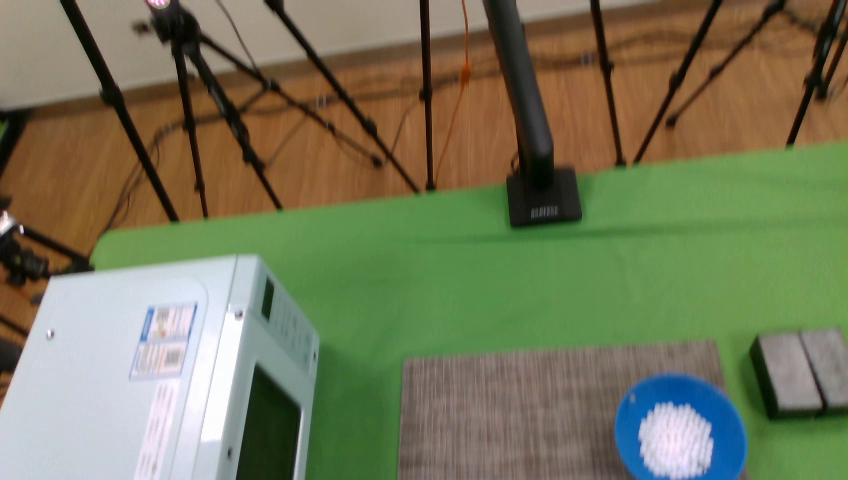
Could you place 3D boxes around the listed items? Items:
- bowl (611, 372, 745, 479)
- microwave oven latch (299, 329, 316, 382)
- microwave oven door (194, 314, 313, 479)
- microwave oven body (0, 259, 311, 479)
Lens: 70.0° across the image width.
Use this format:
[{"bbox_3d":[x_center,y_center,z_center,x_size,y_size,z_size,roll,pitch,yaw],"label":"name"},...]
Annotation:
[{"bbox_3d":[0.309,0.250,0.755,0.151,0.077,0.150,-6,55,9],"label":"bowl"},{"bbox_3d":[-0.183,0.177,0.929,0.030,0.030,0.078,-6,56,8],"label":"microwave oven latch"},{"bbox_3d":[-0.203,0.299,0.723,0.039,0.246,0.352,-7,55,9],"label":"microwave oven door"},{"bbox_3d":[-0.346,0.285,0.772,0.326,0.263,0.437,-7,55,8],"label":"microwave oven body"}]
